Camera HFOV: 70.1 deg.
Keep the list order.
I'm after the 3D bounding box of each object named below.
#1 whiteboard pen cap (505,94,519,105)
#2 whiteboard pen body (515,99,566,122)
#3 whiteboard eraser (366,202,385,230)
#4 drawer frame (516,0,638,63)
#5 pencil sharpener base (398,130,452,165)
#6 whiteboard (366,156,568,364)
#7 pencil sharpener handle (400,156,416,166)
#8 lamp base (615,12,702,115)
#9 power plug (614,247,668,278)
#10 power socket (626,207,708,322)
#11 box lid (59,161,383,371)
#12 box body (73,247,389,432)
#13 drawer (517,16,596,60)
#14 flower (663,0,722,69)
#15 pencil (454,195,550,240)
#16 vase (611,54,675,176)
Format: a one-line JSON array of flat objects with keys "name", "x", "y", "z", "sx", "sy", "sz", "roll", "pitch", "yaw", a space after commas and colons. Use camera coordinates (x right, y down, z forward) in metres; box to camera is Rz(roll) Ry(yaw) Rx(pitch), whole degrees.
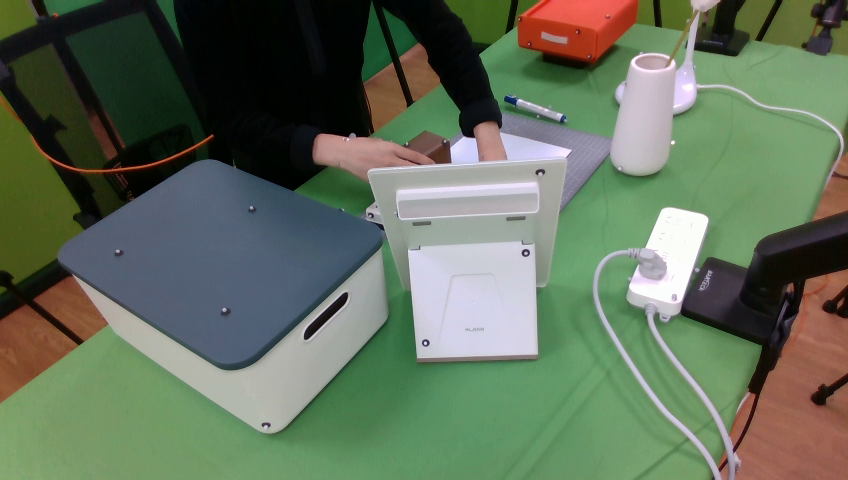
[{"name": "whiteboard pen cap", "x": 0.190, "y": -0.299, "z": 1.292, "sx": 0.033, "sy": 0.018, "sz": 0.018, "roll": 30, "pitch": 52, "yaw": 28}, {"name": "whiteboard pen body", "x": 0.233, "y": -0.274, "z": 1.262, "sx": 0.139, "sy": 0.017, "sz": 0.017, "roll": 28, "pitch": 51, "yaw": 29}, {"name": "whiteboard eraser", "x": -0.038, "y": -0.038, "z": 1.006, "sx": 0.112, "sy": 0.042, "sz": 0.055, "roll": 16, "pitch": 47, "yaw": 25}, {"name": "drawer frame", "x": 0.355, "y": -0.508, "z": 1.410, "sx": 0.200, "sy": 0.083, "sz": 0.214, "roll": 23, "pitch": 51, "yaw": 32}, {"name": "pencil sharpener base", "x": 0.004, "y": -0.123, "z": 1.049, "sx": 0.061, "sy": 0.107, "sz": 0.077, "roll": 28, "pitch": 52, "yaw": 34}, {"name": "whiteboard", "x": 0.059, "y": 0.050, "z": 0.738, "sx": 0.217, "sy": 0.307, "sz": 0.143, "roll": -2, "pitch": 60, "yaw": 6}, {"name": "pencil sharpener handle", "x": -0.030, "y": -0.104, "z": 1.013, "sx": 0.035, "sy": 0.068, "sz": 0.031, "roll": 19, "pitch": 47, "yaw": 42}, {"name": "lamp base", "x": 0.484, "y": -0.364, "z": 1.211, "sx": 0.180, "sy": 0.181, "sz": 0.159, "roll": -15, "pitch": 41, "yaw": -14}, {"name": "power plug", "x": 0.306, "y": 0.031, "z": 0.851, "sx": 0.072, "sy": 0.053, "sz": 0.035, "roll": 24, "pitch": 49, "yaw": 33}, {"name": "power socket", "x": 0.359, "y": 0.025, "z": 0.886, "sx": 0.072, "sy": 0.033, "sz": 0.227, "roll": 16, "pitch": 46, "yaw": 26}, {"name": "box lid", "x": -0.261, "y": 0.009, "z": 0.777, "sx": 0.369, "sy": 0.015, "sz": 0.264, "roll": 21, "pitch": 48, "yaw": 29}, {"name": "box body", "x": -0.255, "y": 0.065, "z": 0.827, "sx": 0.361, "sy": 0.161, "sz": 0.255, "roll": 21, "pitch": 48, "yaw": 29}, {"name": "drawer", "x": 0.353, "y": -0.506, "z": 1.405, "sx": 0.193, "sy": 0.073, "sz": 0.212, "roll": 23, "pitch": 49, "yaw": 32}, {"name": "flower", "x": 0.379, "y": -0.261, "z": 0.965, "sx": 0.044, "sy": 0.362, "sz": 0.038, "roll": 20, "pitch": 53, "yaw": 5}, {"name": "pencil", "x": 0.130, "y": -0.037, "z": 0.989, "sx": 0.195, "sy": 0.012, "sz": 0.012, "roll": -23, "pitch": 43, "yaw": -22}, {"name": "vase", "x": 0.377, "y": -0.209, "z": 1.031, "sx": 0.098, "sy": 0.201, "sz": 0.097, "roll": -3, "pitch": 40, "yaw": 3}]
